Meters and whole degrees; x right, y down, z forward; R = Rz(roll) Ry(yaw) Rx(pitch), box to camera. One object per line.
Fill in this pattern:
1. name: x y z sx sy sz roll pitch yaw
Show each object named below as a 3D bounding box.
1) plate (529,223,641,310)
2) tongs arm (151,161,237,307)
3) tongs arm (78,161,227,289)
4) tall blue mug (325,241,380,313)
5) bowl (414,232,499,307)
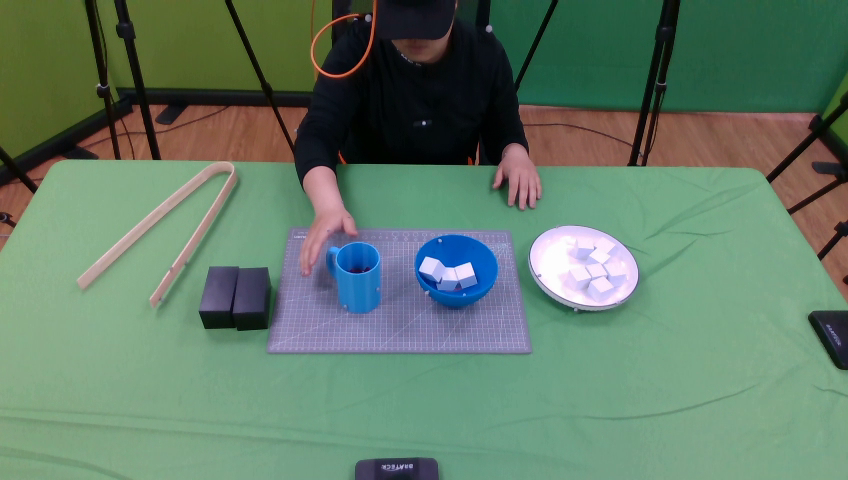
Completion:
1. plate: 0.303 0.053 1.156 0.209 0.038 0.208 2 46 -1
2. tongs arm: -0.447 -0.026 1.180 0.051 0.026 0.383 8 46 10
3. tongs arm: -0.524 -0.043 1.196 0.028 0.028 0.386 15 47 22
4. tall blue mug: -0.130 0.063 1.063 0.107 0.108 0.077 9 47 5
5. bowl: 0.056 0.067 1.093 0.151 0.077 0.150 2 46 -2
